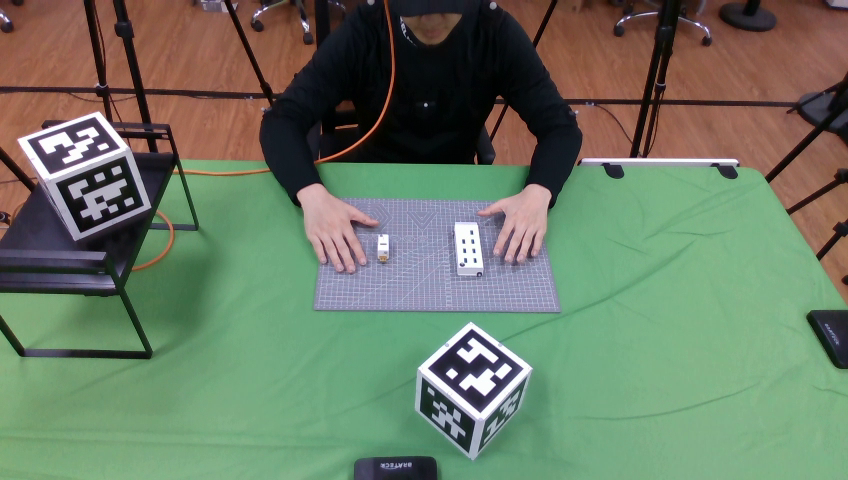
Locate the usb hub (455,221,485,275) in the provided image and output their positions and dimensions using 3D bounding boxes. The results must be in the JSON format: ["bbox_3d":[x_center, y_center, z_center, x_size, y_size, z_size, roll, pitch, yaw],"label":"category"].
[{"bbox_3d":[0.087,0.015,1.178,0.049,0.025,0.124,1,45,-3],"label":"usb hub"}]

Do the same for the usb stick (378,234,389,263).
[{"bbox_3d":[-0.078,0.017,1.163,0.021,0.027,0.059,2,48,-4],"label":"usb stick"}]
